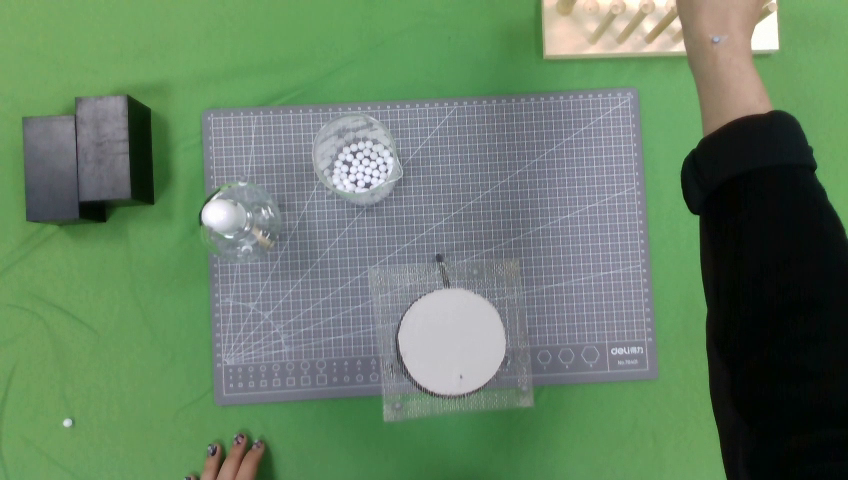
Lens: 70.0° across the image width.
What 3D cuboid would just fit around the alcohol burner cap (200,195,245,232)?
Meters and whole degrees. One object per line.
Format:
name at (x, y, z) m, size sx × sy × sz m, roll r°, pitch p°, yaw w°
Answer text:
alcohol burner cap at (-0.177, -0.024, 0.528) m, size 0.034 × 0.048 × 0.034 m, roll 0°, pitch 90°, yaw -4°

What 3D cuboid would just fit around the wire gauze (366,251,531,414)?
wire gauze at (0.020, 0.073, 0.487) m, size 0.125 × 0.011 × 0.121 m, roll -5°, pitch 87°, yaw -1°

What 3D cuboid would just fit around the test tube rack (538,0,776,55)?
test tube rack at (0.241, -0.233, 0.594) m, size 0.242 × 0.085 × 0.066 m, roll -2°, pitch 87°, yaw -1°

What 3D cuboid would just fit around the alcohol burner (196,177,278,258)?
alcohol burner at (-0.178, -0.023, 0.564) m, size 0.078 × 0.119 × 0.078 m, roll 0°, pitch 86°, yaw 0°

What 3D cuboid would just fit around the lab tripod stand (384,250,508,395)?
lab tripod stand at (0.017, 0.079, 0.555) m, size 0.148 × 0.131 × 0.148 m, roll 0°, pitch 87°, yaw 1°

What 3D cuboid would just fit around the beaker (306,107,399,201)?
beaker at (-0.062, -0.075, 0.575) m, size 0.084 × 0.100 × 0.074 m, roll 21°, pitch 88°, yaw -1°

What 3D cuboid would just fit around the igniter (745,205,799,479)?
igniter at (0.353, 0.102, 0.615) m, size 0.057 × 0.025 × 0.276 m, roll 1°, pitch 88°, yaw -10°
